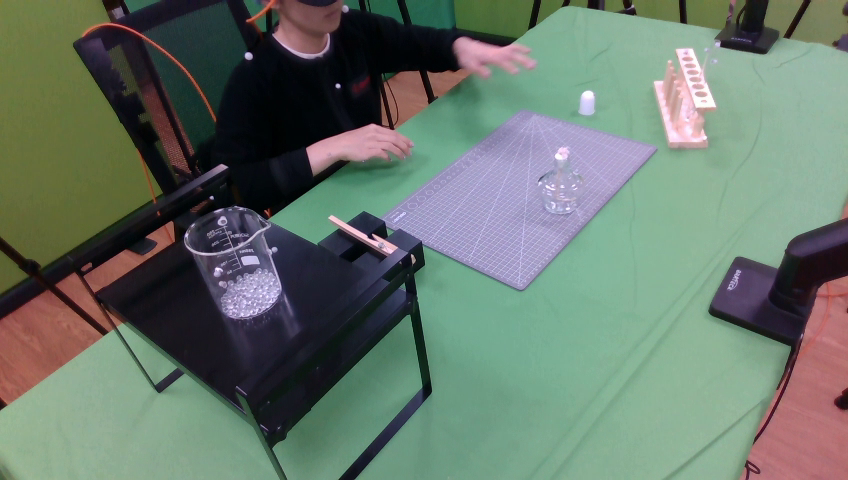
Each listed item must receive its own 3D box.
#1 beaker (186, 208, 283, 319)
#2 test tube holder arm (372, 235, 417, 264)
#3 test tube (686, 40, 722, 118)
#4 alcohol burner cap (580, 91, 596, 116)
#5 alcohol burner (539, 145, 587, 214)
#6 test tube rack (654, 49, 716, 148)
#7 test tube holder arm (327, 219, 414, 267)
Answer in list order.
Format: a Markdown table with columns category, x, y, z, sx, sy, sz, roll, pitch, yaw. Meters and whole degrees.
| category | x | y | z | sx | sy | sz | roll | pitch | yaw |
| --- | --- | --- | --- | --- | --- | --- | --- | --- | --- |
| beaker | -0.192 | 0.026 | 0.637 | 0.084 | 0.101 | 0.073 | -13 | 41 | -7 |
| test tube holder arm | -0.047 | 0.014 | 0.895 | 0.087 | 0.015 | 0.010 | 25 | 51 | 33 |
| test tube | 0.511 | -0.292 | 1.107 | 0.017 | 0.150 | 0.017 | 3 | 39 | -2 |
| alcohol burner cap | 0.338 | -0.283 | 1.238 | 0.034 | 0.048 | 0.033 | -4 | 42 | 4 |
| alcohol burner | 0.226 | -0.102 | 0.986 | 0.078 | 0.119 | 0.077 | -6 | 41 | 6 |
| test tube rack | 0.502 | -0.281 | 1.176 | 0.066 | 0.085 | 0.241 | 1 | 41 | 11 |
| test tube holder arm | -0.085 | 0.002 | 0.916 | 0.177 | 0.015 | 0.013 | 23 | 51 | 32 |
